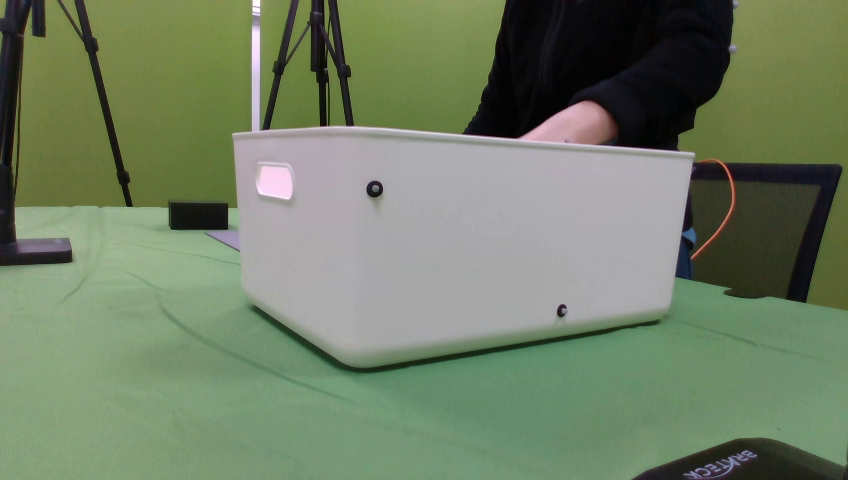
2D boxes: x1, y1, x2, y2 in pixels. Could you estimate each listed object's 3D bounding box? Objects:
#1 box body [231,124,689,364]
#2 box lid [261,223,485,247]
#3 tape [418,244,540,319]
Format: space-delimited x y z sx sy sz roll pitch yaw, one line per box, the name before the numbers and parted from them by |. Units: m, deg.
box body | 0.031 -0.013 0.563 0.366 0.160 0.253 -3 8 -33
box lid | -0.100 -0.009 1.085 0.373 0.015 0.262 0 7 -15
tape | 0.051 0.036 0.570 0.117 0.052 0.117 3 7 0
